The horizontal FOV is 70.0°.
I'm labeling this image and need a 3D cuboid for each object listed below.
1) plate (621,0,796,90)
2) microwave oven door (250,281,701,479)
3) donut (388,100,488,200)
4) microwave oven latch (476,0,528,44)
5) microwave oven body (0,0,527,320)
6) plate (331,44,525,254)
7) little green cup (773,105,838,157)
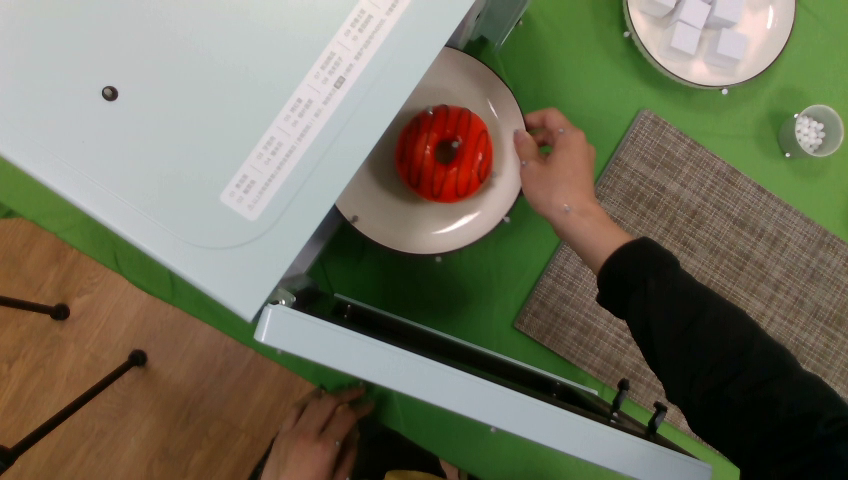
[{"bbox_3d":[0.327,-0.276,0.710,0.208,0.039,0.207,0,89,-6],"label":"plate"},{"bbox_3d":[0.034,0.122,0.557,0.356,0.243,0.039,21,87,-5],"label":"microwave oven door"},{"bbox_3d":[0.014,-0.086,0.590,0.099,0.048,0.099,0,92,-3],"label":"donut"},{"bbox_3d":[0.091,-0.256,0.666,0.030,0.029,0.079,39,87,-5],"label":"microwave oven latch"},{"bbox_3d":[-0.122,-0.197,0.548,0.326,0.260,0.441,35,87,-5],"label":"microwave oven body"},{"bbox_3d":[-0.006,-0.090,0.599,0.209,0.038,0.209,0,90,-5],"label":"plate"},{"bbox_3d":[0.452,-0.127,0.722,0.061,0.038,0.061,0,89,-6],"label":"little green cup"}]
